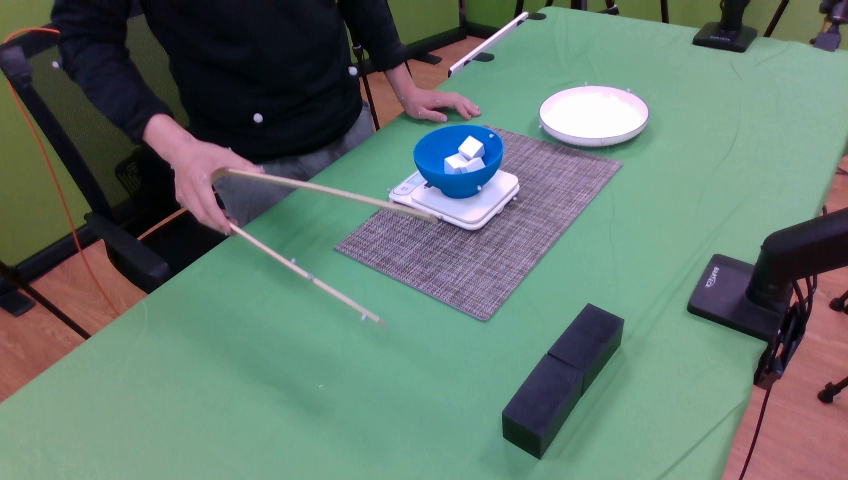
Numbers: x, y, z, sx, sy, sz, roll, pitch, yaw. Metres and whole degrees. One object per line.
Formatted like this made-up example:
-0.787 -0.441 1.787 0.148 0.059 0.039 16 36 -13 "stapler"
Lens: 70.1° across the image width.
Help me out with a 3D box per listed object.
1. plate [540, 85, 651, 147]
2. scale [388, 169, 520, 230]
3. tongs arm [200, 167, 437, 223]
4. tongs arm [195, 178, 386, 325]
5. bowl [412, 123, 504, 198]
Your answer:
0.333 -0.238 1.186 0.207 0.039 0.206 -4 41 4 "plate"
0.050 -0.090 1.051 0.199 0.032 0.149 24 49 31 "scale"
-0.156 -0.062 0.821 0.385 0.028 0.028 13 82 27 "tongs arm"
-0.189 0.005 0.810 0.382 0.027 0.050 26 84 29 "tongs arm"
0.060 -0.123 1.007 0.151 0.077 0.150 -5 41 5 "bowl"
